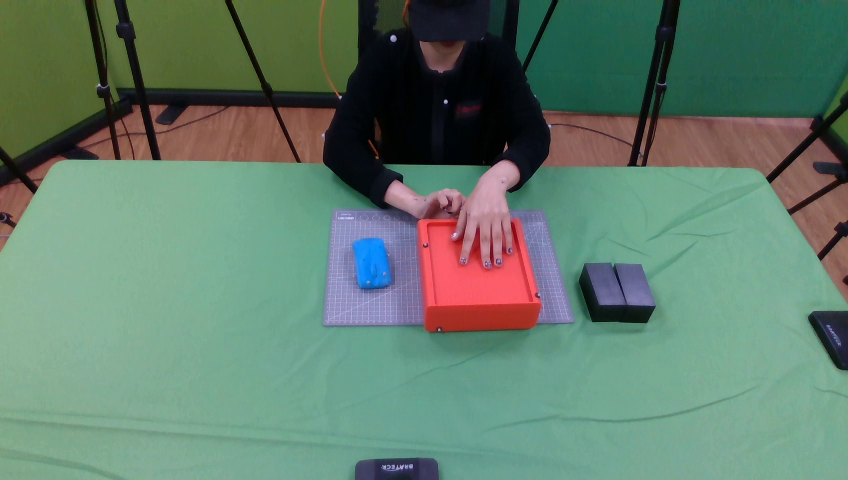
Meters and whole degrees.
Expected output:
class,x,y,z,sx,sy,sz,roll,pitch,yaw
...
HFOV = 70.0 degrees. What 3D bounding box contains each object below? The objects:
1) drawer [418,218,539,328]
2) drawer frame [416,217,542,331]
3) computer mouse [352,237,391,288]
class,x,y,z,sx,sy,sz,roll,pitch,yaw
drawer,0.093,0.056,1.108,0.195,0.073,0.210,0,47,-6
drawer frame,0.092,0.056,1.105,0.202,0.083,0.212,-1,47,-6
computer mouse,-0.100,0.039,1.140,0.063,0.041,0.116,-4,51,-11
